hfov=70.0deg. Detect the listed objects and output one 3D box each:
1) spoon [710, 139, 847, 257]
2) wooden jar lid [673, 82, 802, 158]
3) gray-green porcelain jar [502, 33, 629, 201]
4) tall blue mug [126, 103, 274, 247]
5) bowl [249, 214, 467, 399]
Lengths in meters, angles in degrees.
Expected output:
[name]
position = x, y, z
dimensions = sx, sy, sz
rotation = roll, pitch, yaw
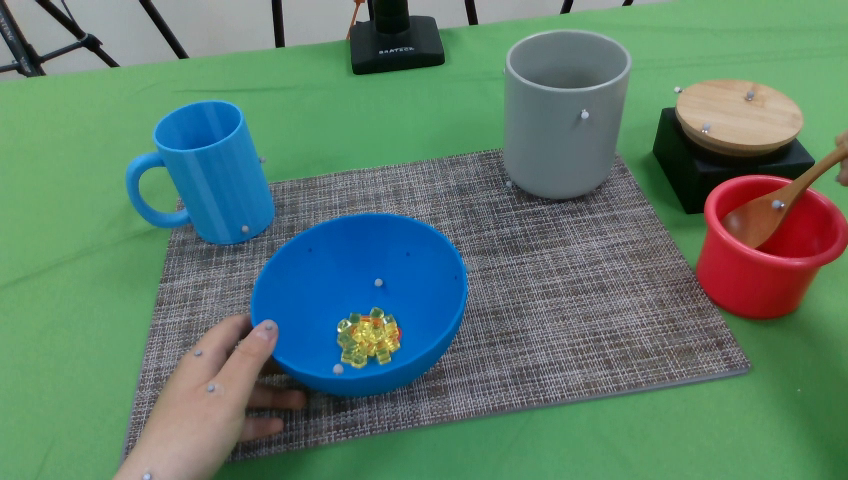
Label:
[spoon]
position = 0.283, -0.049, 0.426
dimensions = 0.022, 0.194, 0.041
rotation = 16, 47, -20
[wooden jar lid]
position = 0.285, -0.110, 0.557
dimensions = 0.108, 0.021, 0.107
rotation = -3, 45, 4
[gray-green porcelain jar]
position = 0.125, -0.108, 0.560
dimensions = 0.106, 0.128, 0.105
rotation = -3, 45, 3
[tall blue mug]
position = -0.197, -0.048, 0.543
dimensions = 0.077, 0.109, 0.107
rotation = 27, 53, 27
[bowl]
position = -0.042, 0.060, 0.443
dimensions = 0.151, 0.077, 0.150
rotation = -3, 45, 3
